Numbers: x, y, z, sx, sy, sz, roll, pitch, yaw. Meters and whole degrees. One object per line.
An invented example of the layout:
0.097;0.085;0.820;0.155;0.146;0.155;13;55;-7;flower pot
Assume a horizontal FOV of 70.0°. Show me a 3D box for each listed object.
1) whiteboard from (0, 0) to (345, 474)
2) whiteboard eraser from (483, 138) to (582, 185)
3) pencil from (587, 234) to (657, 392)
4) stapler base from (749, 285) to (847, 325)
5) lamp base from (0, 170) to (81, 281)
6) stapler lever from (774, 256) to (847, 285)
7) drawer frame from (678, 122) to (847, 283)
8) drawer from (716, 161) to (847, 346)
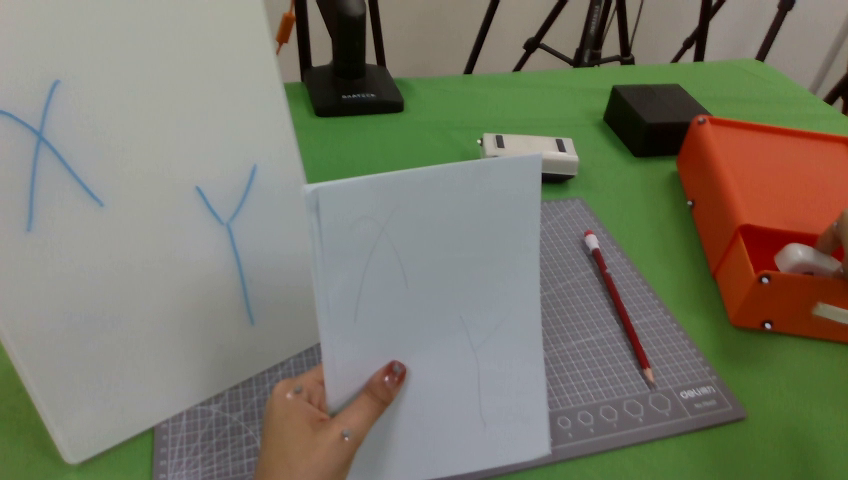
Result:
-0.211;-0.035;0.448;0.217;0.308;0.142;-23;29;-29;whiteboard
0.128;-0.093;0.724;0.113;0.042;0.055;4;42;-3;whiteboard eraser
0.184;0.061;0.570;0.012;0.012;0.192;0;42;-7;pencil
0.386;0.059;0.580;0.130;0.025;0.041;-1;47;7;stapler base
-0.415;-0.074;0.518;0.178;0.182;0.160;19;42;18;lamp base
0.385;0.037;0.558;0.118;0.040;0.026;3;48;3;stapler lever
0.403;-0.033;0.658;0.201;0.083;0.211;8;40;2;drawer frame
0.395;0.008;0.612;0.194;0.074;0.210;8;40;3;drawer
